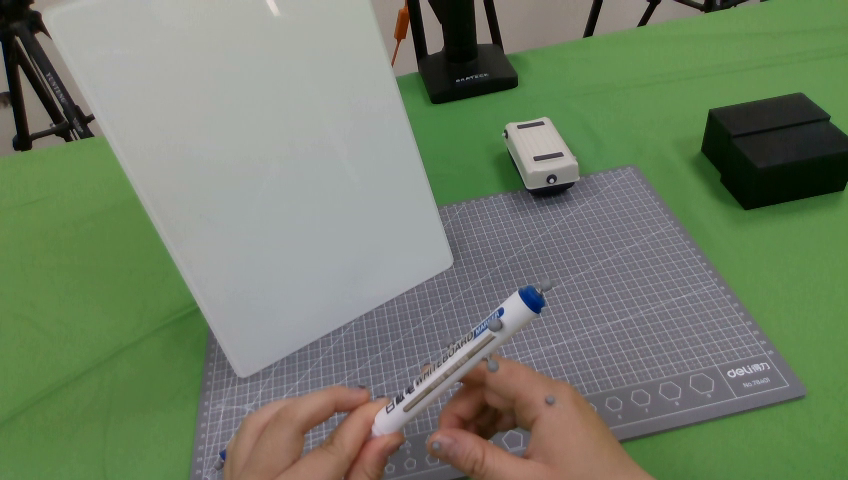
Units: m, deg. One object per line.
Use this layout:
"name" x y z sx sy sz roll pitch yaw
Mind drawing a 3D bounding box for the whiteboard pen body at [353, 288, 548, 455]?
"whiteboard pen body" 0.009 0.074 0.317 0.141 0.017 0.017 -44 39 19

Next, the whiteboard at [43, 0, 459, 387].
"whiteboard" -0.132 -0.074 0.530 0.217 0.308 0.142 -27 25 -17

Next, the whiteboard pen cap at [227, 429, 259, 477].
"whiteboard pen cap" -0.133 0.157 0.444 0.018 0.018 0.033 0 60 11

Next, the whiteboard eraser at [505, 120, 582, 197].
"whiteboard eraser" 0.126 -0.088 0.652 0.055 0.042 0.111 -12 38 0
